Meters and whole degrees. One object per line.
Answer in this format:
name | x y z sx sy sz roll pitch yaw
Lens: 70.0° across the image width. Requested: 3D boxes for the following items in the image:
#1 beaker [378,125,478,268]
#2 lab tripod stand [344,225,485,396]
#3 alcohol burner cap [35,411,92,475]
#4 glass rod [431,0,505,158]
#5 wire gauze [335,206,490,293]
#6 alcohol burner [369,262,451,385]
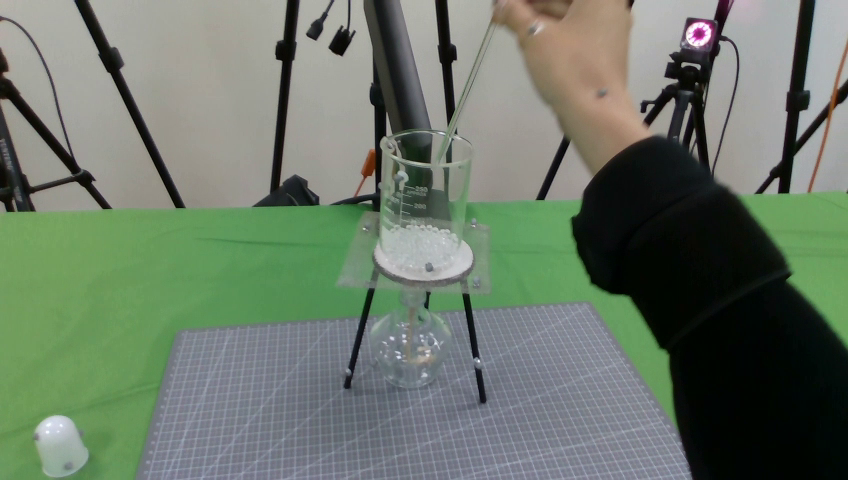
beaker | -0.003 -0.035 0.495 0.083 0.101 0.074 26 37 31
lab tripod stand | -0.001 0.064 0.553 0.148 0.132 0.147 4 30 -2
alcohol burner cap | -0.282 0.155 0.470 0.034 0.048 0.033 2 31 -1
glass rod | 0.041 -0.138 0.417 0.008 0.201 0.008 15 38 -12
wire gauze | -0.004 0.008 0.519 0.121 0.011 0.124 5 33 3
alcohol burner | -0.013 0.073 0.556 0.078 0.120 0.077 2 30 0
